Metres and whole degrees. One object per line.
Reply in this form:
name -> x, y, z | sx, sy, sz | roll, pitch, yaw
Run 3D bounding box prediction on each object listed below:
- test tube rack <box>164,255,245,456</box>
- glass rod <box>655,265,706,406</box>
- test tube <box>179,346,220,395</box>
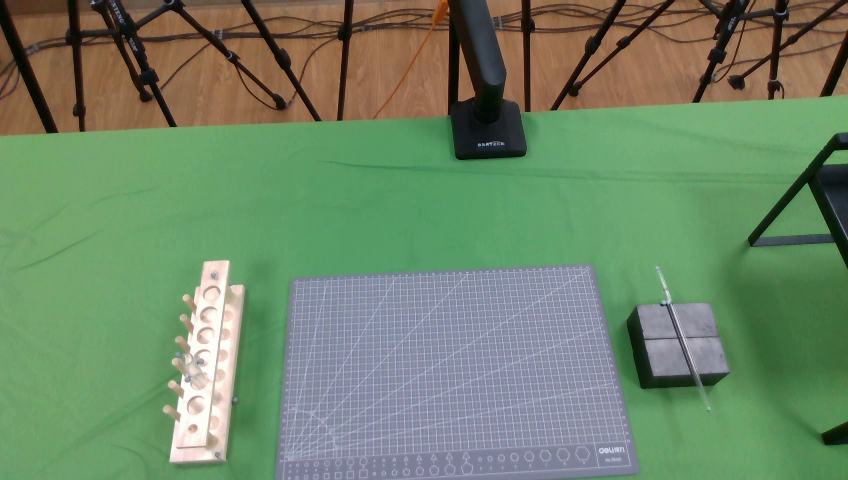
test tube rack -> -0.287, 0.145, 0.783 | 0.067, 0.086, 0.240 | -2, 60, -2
glass rod -> 0.335, 0.121, 0.795 | 0.008, 0.008, 0.198 | -5, 60, -3
test tube -> -0.264, 0.158, 0.718 | 0.017, 0.151, 0.017 | 3, 60, -5
